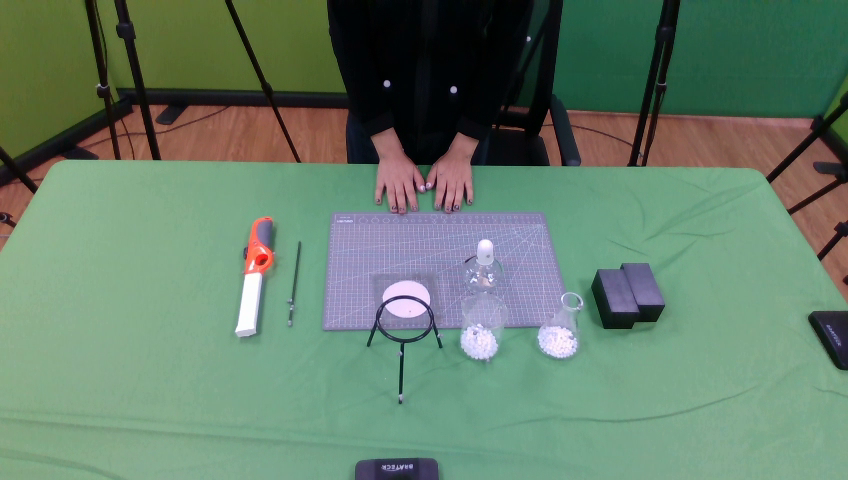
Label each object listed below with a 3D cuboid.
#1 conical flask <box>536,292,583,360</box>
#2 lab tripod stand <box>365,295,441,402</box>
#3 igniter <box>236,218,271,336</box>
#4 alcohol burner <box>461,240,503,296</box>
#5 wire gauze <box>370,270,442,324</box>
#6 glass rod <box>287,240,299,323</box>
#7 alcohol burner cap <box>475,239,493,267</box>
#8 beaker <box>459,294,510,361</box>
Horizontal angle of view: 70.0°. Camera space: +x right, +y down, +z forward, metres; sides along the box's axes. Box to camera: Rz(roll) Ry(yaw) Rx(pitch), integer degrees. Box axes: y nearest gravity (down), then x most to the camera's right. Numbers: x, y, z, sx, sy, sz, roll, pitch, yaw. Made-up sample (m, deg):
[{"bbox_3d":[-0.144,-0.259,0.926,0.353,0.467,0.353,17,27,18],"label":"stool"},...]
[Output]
[{"bbox_3d":[0.234,0.139,1.015,0.075,0.122,0.075,2,46,-2],"label":"conical flask"},{"bbox_3d":[-0.031,0.160,0.966,0.148,0.132,0.147,3,44,-2],"label":"lab tripod stand"},{"bbox_3d":[-0.312,0.058,1.115,0.057,0.025,0.274,-9,46,2],"label":"igniter"},{"bbox_3d":[0.106,0.045,1.098,0.078,0.120,0.077,1,44,-1],"label":"alcohol burner"},{"bbox_3d":[-0.035,0.105,1.103,0.125,0.011,0.120,-3,46,-5],"label":"wire gauze"},{"bbox_3d":[-0.242,0.072,1.119,0.008,0.008,0.198,-1,47,-5],"label":"glass rod"},{"bbox_3d":[0.107,0.020,1.072,0.034,0.048,0.033,-2,46,2],"label":"alcohol burner cap"},{"bbox_3d":[0.094,0.147,1.012,0.083,0.101,0.074,26,49,21],"label":"beaker"}]
